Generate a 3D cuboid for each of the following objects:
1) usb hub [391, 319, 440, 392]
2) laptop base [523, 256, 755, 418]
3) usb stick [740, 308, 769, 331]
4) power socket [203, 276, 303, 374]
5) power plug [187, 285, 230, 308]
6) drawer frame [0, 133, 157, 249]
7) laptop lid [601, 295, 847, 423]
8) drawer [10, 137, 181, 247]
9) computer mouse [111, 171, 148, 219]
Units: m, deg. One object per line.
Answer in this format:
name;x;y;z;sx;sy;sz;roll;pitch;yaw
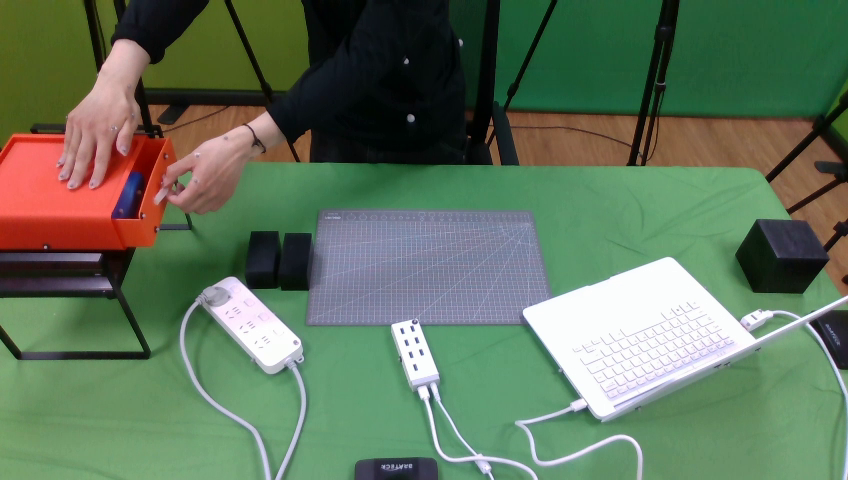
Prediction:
usb hub;-0.016;0.190;1.013;0.049;0.025;0.124;-11;48;-15
laptop base;0.381;0.159;1.077;0.355;0.023;0.234;-17;47;-20
usb stick;0.587;0.146;1.087;0.059;0.027;0.021;-21;47;-17
power socket;-0.296;0.141;1.034;0.072;0.033;0.225;-35;58;-31
power plug;-0.370;0.103;1.039;0.072;0.053;0.035;-25;53;-23
drawer frame;-0.549;-0.079;0.942;0.214;0.083;0.200;-1;47;-4
laptop lid;0.449;0.180;0.905;0.357;0.242;0.013;-17;64;-20
drawer;-0.511;-0.079;0.948;0.212;0.073;0.193;-1;47;-4
computer mouse;-0.482;-0.069;0.959;0.063;0.041;0.116;3;50;-8
